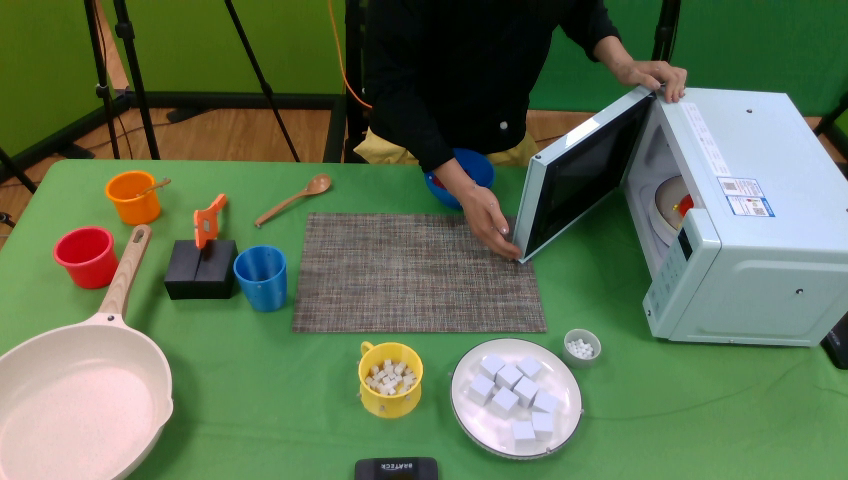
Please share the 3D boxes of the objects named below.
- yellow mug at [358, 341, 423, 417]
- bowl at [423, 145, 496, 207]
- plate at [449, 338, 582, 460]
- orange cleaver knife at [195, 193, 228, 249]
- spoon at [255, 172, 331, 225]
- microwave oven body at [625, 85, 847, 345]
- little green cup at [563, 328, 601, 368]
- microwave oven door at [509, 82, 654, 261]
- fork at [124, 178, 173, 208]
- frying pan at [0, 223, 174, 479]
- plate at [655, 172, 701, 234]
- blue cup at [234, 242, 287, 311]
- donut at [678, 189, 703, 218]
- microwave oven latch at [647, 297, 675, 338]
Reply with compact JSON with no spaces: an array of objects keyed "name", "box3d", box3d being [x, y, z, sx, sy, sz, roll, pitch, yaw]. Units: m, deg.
[{"name":"yellow mug","box3d":[-0.062,0.210,0.961,0.100,0.064,0.130,-29,54,-27]},{"name":"bowl","box3d":[0.072,-0.123,1.278,0.151,0.077,0.150,3,47,-2]},{"name":"plate","box3d":[0.141,0.251,0.955,0.208,0.039,0.206,2,46,-2]},{"name":"orange cleaver knife","box3d":[-0.406,-0.041,1.163,0.012,0.077,0.210,0,18,-3]},{"name":"spoon","box3d":[-0.272,-0.087,1.257,0.041,0.022,0.193,42,57,18]},{"name":"microwave oven body","box3d":[0.568,-0.054,1.116,0.326,0.261,0.439,2,46,-1]},{"name":"little green cup","box3d":[0.265,0.184,1.025,0.061,0.039,0.061,1,46,-1]},{"name":"microwave oven door","box3d":[0.307,-0.136,1.168,0.356,0.245,0.039,-34,58,-31]},{"name":"fork","box3d":[-0.525,-0.090,1.154,0.207,0.019,0.028,-17,27,45]},{"name":"frying pan","box3d":[-0.505,0.169,0.941,0.307,0.103,0.485,5,54,-1]},{"name":"plate","box3d":[0.556,-0.054,1.183,0.209,0.038,0.208,0,45,0]},{"name":"blue cup","box3d":[-0.276,0.071,1.052,0.093,0.101,0.092,1,48,-1]},{"name":"donut","box3d":[0.542,-0.062,1.174,0.099,0.048,0.098,2,43,-2]},{"name":"microwave oven latch","box3d":[0.413,0.133,1.060,0.030,0.029,0.078,5,46,2]}]
